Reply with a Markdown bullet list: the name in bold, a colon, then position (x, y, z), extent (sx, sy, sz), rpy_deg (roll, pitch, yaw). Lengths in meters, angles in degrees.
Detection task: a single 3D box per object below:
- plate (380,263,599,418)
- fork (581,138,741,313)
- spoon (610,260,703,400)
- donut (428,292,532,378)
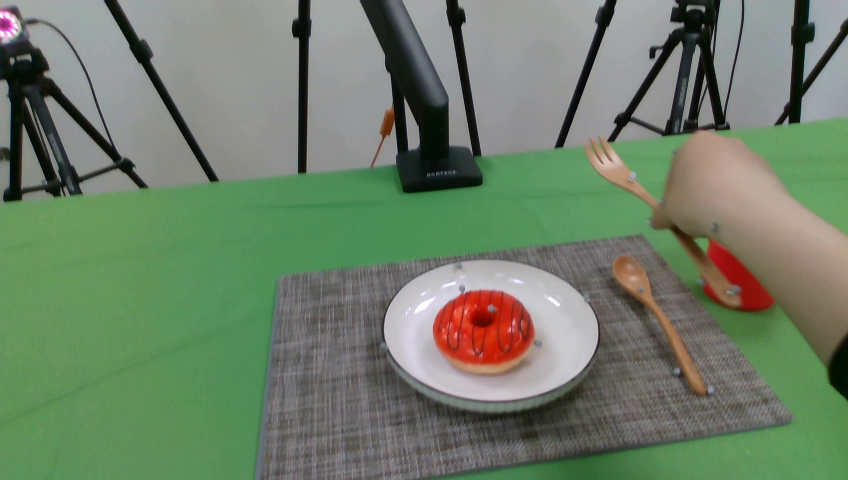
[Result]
- **plate**: position (0.063, 0.096, 0.591), extent (0.209, 0.038, 0.207), rpy_deg (-1, 33, 1)
- **fork**: position (0.189, -0.020, 0.499), extent (0.028, 0.019, 0.205), rpy_deg (-14, 47, -15)
- **spoon**: position (0.234, 0.083, 0.613), extent (0.042, 0.022, 0.192), rpy_deg (10, 31, -13)
- **donut**: position (0.054, 0.091, 0.580), extent (0.099, 0.048, 0.098), rpy_deg (-2, 36, 2)
